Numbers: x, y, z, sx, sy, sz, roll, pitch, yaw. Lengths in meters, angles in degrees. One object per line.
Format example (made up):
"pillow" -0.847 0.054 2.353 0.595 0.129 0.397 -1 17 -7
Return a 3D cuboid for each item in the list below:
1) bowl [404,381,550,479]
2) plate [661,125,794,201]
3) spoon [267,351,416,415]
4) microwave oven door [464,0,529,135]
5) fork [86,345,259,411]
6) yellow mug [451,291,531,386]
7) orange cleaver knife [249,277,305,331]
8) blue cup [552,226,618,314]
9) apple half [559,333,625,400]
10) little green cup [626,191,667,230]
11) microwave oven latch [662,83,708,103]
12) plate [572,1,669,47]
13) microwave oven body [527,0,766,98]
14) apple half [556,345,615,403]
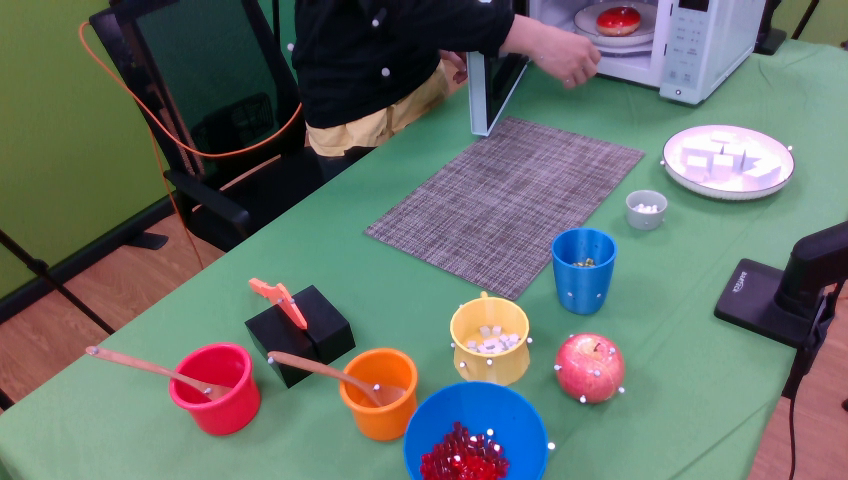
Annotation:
"bowl" 0.058 0.235 0.645 0.151 0.077 0.150 -4 39 4
"plate" 0.513 -0.128 1.035 0.207 0.039 0.206 -4 40 4
"spoon" -0.091 0.162 0.699 0.021 0.195 0.041 -45 30 26
"microwave oven door" 0.157 -0.410 1.236 0.039 0.245 0.355 10 43 19
"fork" -0.298 0.166 0.728 0.209 0.018 0.028 28 46 -23
"yellow mug" 0.085 0.120 0.786 0.100 0.064 0.130 -7 39 1
"orange cleaver knife" -0.210 0.088 0.855 0.012 0.077 0.210 -28 15 -25
"blue cup" 0.218 0.047 0.826 0.092 0.101 0.092 -6 40 5
"apple half" 0.209 0.147 0.730 0.080 0.075 0.053 26 47 38
"little green cup" 0.352 -0.046 0.963 0.061 0.039 0.061 -4 40 4
"microwave oven latch" 0.518 -0.296 1.204 0.078 0.029 0.030 28 52 35
"plate" 0.441 -0.484 1.366 0.209 0.038 0.208 -5 41 5
"microwave oven body" 0.472 -0.513 1.317 0.438 0.261 0.327 26 51 34
"apple half" 0.181 0.167 0.709 0.080 0.081 0.033 29 50 35
